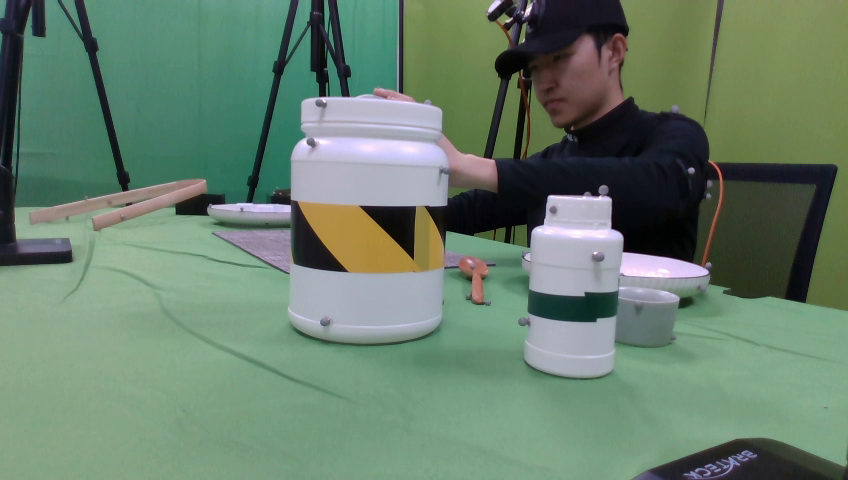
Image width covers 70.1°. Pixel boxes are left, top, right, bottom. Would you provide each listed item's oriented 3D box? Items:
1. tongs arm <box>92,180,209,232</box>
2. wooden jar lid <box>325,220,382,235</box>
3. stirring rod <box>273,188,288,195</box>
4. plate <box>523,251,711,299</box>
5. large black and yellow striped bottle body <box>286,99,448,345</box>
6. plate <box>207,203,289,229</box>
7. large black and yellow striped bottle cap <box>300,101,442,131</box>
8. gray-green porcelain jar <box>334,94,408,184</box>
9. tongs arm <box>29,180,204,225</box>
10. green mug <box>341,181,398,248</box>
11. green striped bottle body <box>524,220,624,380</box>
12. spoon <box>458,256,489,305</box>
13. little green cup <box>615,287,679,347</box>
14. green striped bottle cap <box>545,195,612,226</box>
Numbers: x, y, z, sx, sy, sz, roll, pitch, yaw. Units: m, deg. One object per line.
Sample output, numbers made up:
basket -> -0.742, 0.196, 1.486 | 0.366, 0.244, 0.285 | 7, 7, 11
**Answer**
tongs arm -> -0.534, -0.076, 1.222 | 0.028, 0.028, 0.388 | -2, 15, 12
wooden jar lid -> -0.136, -0.025, 1.162 | 0.108, 0.020, 0.108 | 3, 8, 0
stirring rod -> -0.353, -0.122, 1.518 | 0.006, 0.014, 0.176 | 1, 7, 2
plate -> 0.219, 0.041, 0.706 | 0.209, 0.038, 0.209 | 2, 7, 0
large black and yellow striped bottle body -> -0.047, -0.018, 0.501 | 0.131, 0.184, 0.130 | 2, 7, 0
plate -> -0.342, -0.050, 1.259 | 0.208, 0.039, 0.207 | 2, 7, 0
large black and yellow striped bottle cap -> -0.042, -0.100, 0.491 | 0.115, 0.019, 0.115 | 1, 8, 0
gray-green porcelain jar -> -0.077, -0.149, 0.895 | 0.106, 0.105, 0.126 | 2, -10, -3
tongs arm -> -0.609, -0.083, 1.245 | 0.050, 0.026, 0.386 | 5, 16, 23
green mug -> -0.090, -0.044, 0.997 | 0.093, 0.105, 0.125 | 1, 7, -9
green striped bottle body -> 0.104, 0.031, 0.422 | 0.063, 0.119, 0.063 | 2, 8, 0
spoon -> 0.059, 0.044, 0.696 | 0.041, 0.021, 0.194 | 18, 7, 1
little green cup -> 0.180, 0.064, 0.506 | 0.061, 0.038, 0.061 | 2, 8, 0
green striped bottle cap -> 0.106, -0.020, 0.414 | 0.044, 0.020, 0.044 | 2, 4, 0
